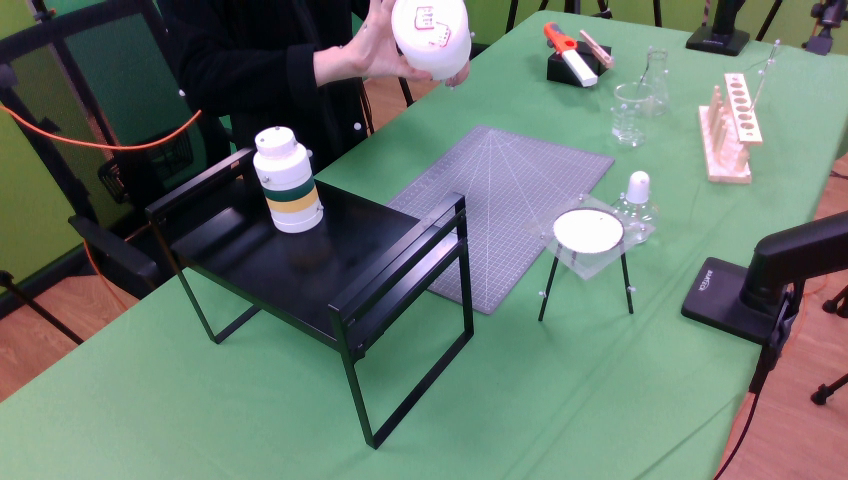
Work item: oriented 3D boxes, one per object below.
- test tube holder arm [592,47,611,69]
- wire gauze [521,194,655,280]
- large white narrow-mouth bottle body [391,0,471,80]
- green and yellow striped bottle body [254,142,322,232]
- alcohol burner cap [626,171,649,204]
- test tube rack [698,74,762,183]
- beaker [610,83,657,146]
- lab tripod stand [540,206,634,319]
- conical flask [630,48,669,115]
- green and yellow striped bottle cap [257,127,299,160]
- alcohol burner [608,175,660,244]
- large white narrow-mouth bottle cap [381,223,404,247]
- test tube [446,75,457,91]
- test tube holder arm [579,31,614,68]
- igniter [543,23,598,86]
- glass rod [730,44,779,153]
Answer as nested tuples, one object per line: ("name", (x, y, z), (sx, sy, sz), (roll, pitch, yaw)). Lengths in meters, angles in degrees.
("test tube holder arm", (0.386, -0.398, 1.317), (0.010, 0.015, 0.087), (-10, 41, -2))
("wire gauze", (0.207, -0.012, 0.772), (0.122, 0.011, 0.124), (-28, 44, -20))
("large white narrow-mouth bottle body", (0.017, -0.285, 0.863), (0.101, 0.101, 0.195), (-1, 1, 8))
("green and yellow striped bottle body", (-0.165, -0.073, 0.732), (0.063, 0.120, 0.063), (-4, 41, 4))
("alcohol burner cap", (0.320, -0.081, 0.900), (0.034, 0.048, 0.033), (-4, 42, 4))
("test tube rack", (0.547, -0.208, 1.095), (0.066, 0.085, 0.242), (5, 42, 15))
("beaker", (0.388, -0.235, 1.137), (0.074, 0.101, 0.083), (-31, 45, -26))
("lab tripod stand", (0.217, 0.034, 0.821), (0.148, 0.132, 0.147), (-4, 42, 4))
("conical flask", (0.457, -0.317, 1.205), (0.075, 0.122, 0.075), (-4, 41, 4))
("green and yellow striped bottle cap", (-0.169, -0.112, 0.698), (0.045, 0.020, 0.045), (-5, 40, 4))
("alcohol burner", (0.322, -0.053, 0.924), (0.078, 0.119, 0.077), (-4, 43, 4))
("large white narrow-mouth bottle cap", (-0.052, -0.009, 0.992), (0.038, 0.024, 0.037), (-5, 39, 4))
("test tube", (0.043, -0.279, 1.031), (0.017, 0.017, 0.150), (0, 0, 8))
("test tube holder arm", (0.384, -0.428, 1.351), (0.013, 0.015, 0.177), (-11, 41, -4))
("igniter", (0.320, -0.419, 1.345), (0.057, 0.025, 0.274), (-12, 44, -3))
("glass rod", (0.555, -0.234, 1.021), (0.008, 0.200, 0.008), (2, 40, -1))
